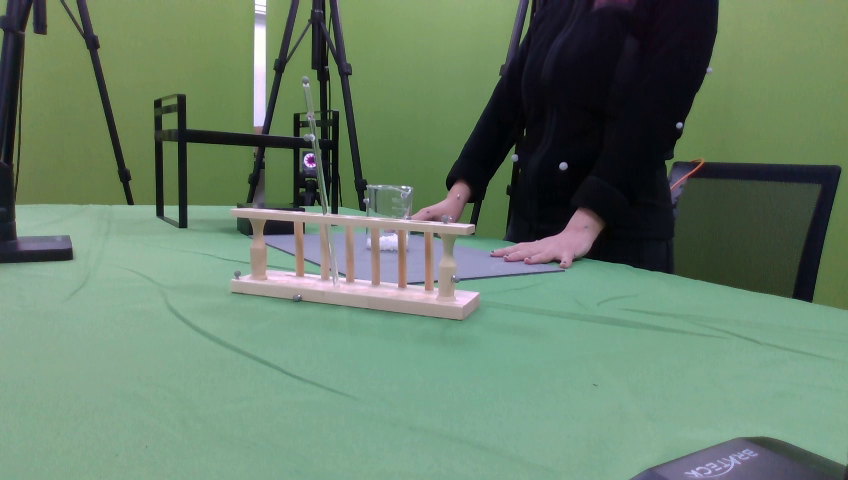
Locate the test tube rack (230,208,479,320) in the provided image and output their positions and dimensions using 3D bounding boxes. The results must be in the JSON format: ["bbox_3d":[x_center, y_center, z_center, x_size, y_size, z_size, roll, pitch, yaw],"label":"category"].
[{"bbox_3d":[-0.069,0.017,0.598,0.242,0.085,0.067,5,8,18],"label":"test tube rack"}]

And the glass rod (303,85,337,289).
[{"bbox_3d":[-0.099,-0.047,0.578,0.008,0.199,0.008,-6,8,1],"label":"glass rod"}]

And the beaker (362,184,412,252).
[{"bbox_3d":[-0.055,-0.034,0.935,0.083,0.100,0.074,10,11,44],"label":"beaker"}]
